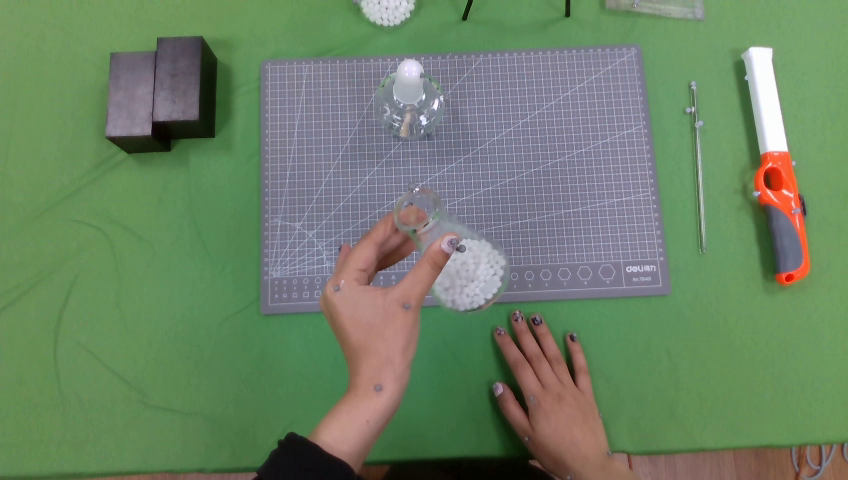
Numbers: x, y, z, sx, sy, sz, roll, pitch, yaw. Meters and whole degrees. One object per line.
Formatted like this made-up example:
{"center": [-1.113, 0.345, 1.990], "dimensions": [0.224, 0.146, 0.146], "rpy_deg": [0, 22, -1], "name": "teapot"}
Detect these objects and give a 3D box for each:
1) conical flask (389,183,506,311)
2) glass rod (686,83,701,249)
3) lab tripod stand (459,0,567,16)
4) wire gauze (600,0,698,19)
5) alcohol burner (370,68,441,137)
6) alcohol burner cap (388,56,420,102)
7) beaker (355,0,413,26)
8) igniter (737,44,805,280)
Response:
{"center": [0.015, 0.003, 0.483], "dimensions": [0.075, 0.123, 0.074], "rpy_deg": [-11, 59, 20], "name": "conical flask"}
{"center": [0.308, -0.087, 0.695], "dimensions": [0.008, 0.008, 0.199], "rpy_deg": [2, 79, 0], "name": "glass rod"}
{"center": [0.105, -0.319, 0.674], "dimensions": [0.148, 0.132, 0.148], "rpy_deg": [0, 81, 0], "name": "lab tripod stand"}
{"center": [0.276, -0.333, 0.742], "dimensions": [0.125, 0.011, 0.121], "rpy_deg": [4, 80, -1], "name": "wire gauze"}
{"center": [-0.020, -0.157, 0.649], "dimensions": [0.078, 0.119, 0.077], "rpy_deg": [0, 78, -2], "name": "alcohol burner"}
{"center": [-0.018, -0.167, 0.614], "dimensions": [0.034, 0.048, 0.033], "rpy_deg": [3, 72, -7], "name": "alcohol burner cap"}
{"center": [-0.046, -0.300, 0.687], "dimensions": [0.084, 0.100, 0.074], "rpy_deg": [-43, 82, -8], "name": "beaker"}
{"center": [0.392, -0.091, 0.686], "dimensions": [0.057, 0.025, 0.275], "rpy_deg": [-1, 79, -11], "name": "igniter"}
